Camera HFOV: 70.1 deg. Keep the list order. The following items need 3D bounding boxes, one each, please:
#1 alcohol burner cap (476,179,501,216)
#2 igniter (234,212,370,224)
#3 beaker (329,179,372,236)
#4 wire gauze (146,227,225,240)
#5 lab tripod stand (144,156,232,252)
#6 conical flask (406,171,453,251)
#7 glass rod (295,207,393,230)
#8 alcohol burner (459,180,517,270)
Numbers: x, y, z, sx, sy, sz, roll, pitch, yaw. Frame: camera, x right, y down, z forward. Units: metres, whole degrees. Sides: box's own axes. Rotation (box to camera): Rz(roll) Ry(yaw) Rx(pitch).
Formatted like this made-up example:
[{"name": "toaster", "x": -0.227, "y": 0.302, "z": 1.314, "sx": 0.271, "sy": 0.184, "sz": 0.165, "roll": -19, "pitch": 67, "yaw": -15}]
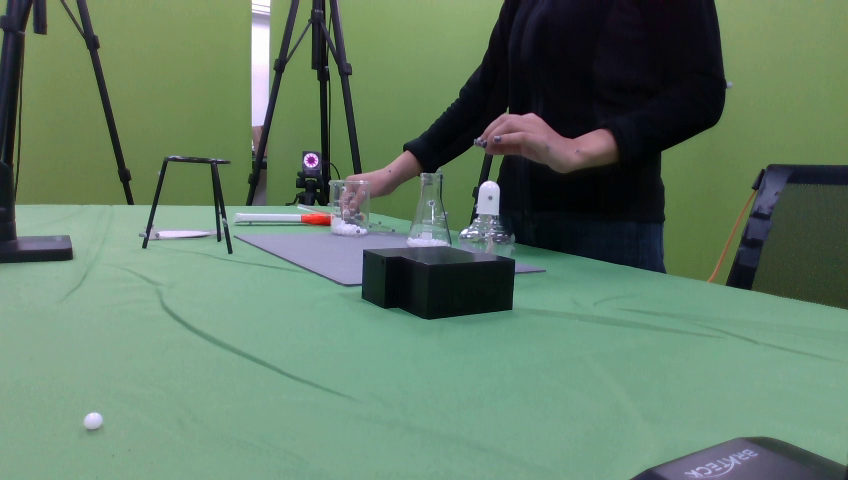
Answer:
[{"name": "alcohol burner cap", "x": 0.086, "y": -0.057, "z": 0.801, "sx": 0.034, "sy": 0.048, "sz": 0.034, "roll": 4, "pitch": 2, "yaw": 0}, {"name": "igniter", "x": -0.247, "y": -0.046, "z": 1.253, "sx": 0.278, "sy": 0.025, "sz": 0.057, "roll": -1, "pitch": -3, "yaw": -27}, {"name": "beaker", "x": -0.137, "y": -0.061, "z": 1.101, "sx": 0.084, "sy": 0.100, "sz": 0.074, "roll": 4, "pitch": 7, "yaw": 20}, {"name": "wire gauze", "x": -0.400, "y": -0.012, "z": 1.019, "sx": 0.122, "sy": 0.011, "sz": 0.124, "roll": -1, "pitch": 6, "yaw": -26}, {"name": "lab tripod stand", "x": -0.325, "y": -0.054, "z": 0.881, "sx": 0.148, "sy": 0.131, "sz": 0.148, "roll": 4, "pitch": 7, "yaw": 0}, {"name": "conical flask", "x": 0.011, "y": -0.046, "z": 0.948, "sx": 0.075, "sy": 0.122, "sz": 0.075, "roll": 2, "pitch": 7, "yaw": 0}, {"name": "glass rod", "x": -0.150, "y": -0.042, "z": 1.167, "sx": 0.201, "sy": 0.008, "sz": 0.008, "roll": 12, "pitch": 2, "yaw": -27}, {"name": "alcohol burner", "x": 0.086, "y": -0.021, "z": 0.806, "sx": 0.078, "sy": 0.119, "sz": 0.078, "roll": 3, "pitch": 9, "yaw": 0}]
